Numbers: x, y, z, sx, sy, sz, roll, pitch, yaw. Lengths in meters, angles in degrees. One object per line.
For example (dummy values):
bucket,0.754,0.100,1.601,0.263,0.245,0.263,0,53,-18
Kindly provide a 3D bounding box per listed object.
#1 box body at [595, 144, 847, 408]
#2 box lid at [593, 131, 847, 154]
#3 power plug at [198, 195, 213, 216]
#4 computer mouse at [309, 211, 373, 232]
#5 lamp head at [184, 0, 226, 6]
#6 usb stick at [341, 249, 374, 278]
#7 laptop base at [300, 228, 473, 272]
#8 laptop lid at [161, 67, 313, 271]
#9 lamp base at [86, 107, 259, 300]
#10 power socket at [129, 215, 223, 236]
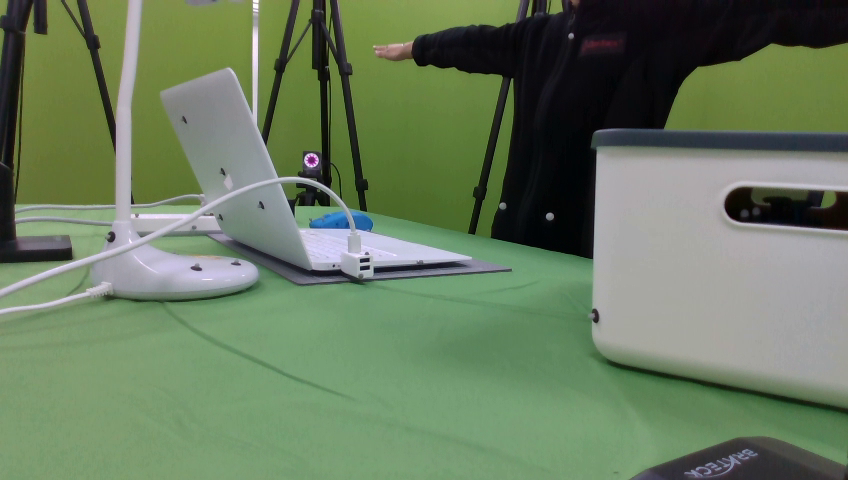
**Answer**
box body,0.310,0.007,0.508,0.253,0.160,0.366,6,8,30
box lid,0.311,-0.067,0.498,0.262,0.015,0.373,6,7,30
power plug,-0.386,-0.055,1.088,0.035,0.052,0.072,-2,6,-24
computer mouse,-0.157,-0.033,1.139,0.118,0.041,0.062,-5,11,-28
lamp head,-0.229,-0.320,0.627,0.112,0.112,0.123,6,-36,26
usb stick,-0.079,0.026,0.687,0.021,0.027,0.059,-8,9,-30
laptop base,-0.124,0.011,0.889,0.237,0.023,0.352,2,6,-35
laptop lid,-0.255,-0.090,0.782,0.013,0.242,0.355,-29,24,-28
lamp base,-0.254,-0.039,0.603,0.160,0.180,0.179,5,10,18
power socket,-0.397,-0.028,1.048,0.228,0.032,0.072,-3,7,-35
